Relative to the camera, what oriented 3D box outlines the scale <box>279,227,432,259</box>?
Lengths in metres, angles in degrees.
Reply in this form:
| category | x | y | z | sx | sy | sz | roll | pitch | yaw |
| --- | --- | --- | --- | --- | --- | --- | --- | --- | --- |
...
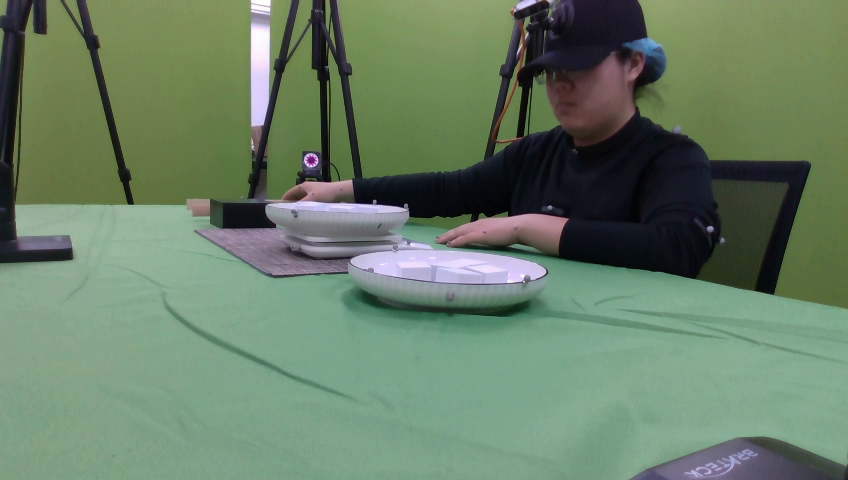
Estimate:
| category | x | y | z | sx | sy | sz | roll | pitch | yaw |
| --- | --- | --- | --- | --- | --- | --- | --- | --- | --- |
| scale | -0.100 | 0.001 | 0.899 | 0.202 | 0.031 | 0.148 | -1 | 9 | -31 |

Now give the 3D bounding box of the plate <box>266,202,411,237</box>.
| category | x | y | z | sx | sy | sz | roll | pitch | yaw |
| --- | --- | --- | --- | --- | --- | --- | --- | --- | --- |
| plate | -0.123 | -0.030 | 0.879 | 0.208 | 0.039 | 0.207 | 2 | 6 | 0 |

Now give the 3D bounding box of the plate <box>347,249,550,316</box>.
| category | x | y | z | sx | sy | sz | roll | pitch | yaw |
| --- | --- | --- | --- | --- | --- | --- | --- | --- | --- |
| plate | 0.025 | 0.042 | 0.627 | 0.209 | 0.038 | 0.209 | 2 | 7 | 0 |

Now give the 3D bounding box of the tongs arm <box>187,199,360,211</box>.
| category | x | y | z | sx | sy | sz | roll | pitch | yaw |
| --- | --- | --- | --- | --- | --- | --- | --- | --- | --- |
| tongs arm | -0.338 | -0.079 | 1.397 | 0.387 | 0.026 | 0.050 | -2 | 8 | -25 |

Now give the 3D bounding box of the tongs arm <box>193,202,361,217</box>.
| category | x | y | z | sx | sy | sz | roll | pitch | yaw |
| --- | --- | --- | --- | --- | --- | --- | --- | --- | --- |
| tongs arm | -0.310 | -0.069 | 1.341 | 0.390 | 0.028 | 0.028 | -3 | 6 | -33 |
